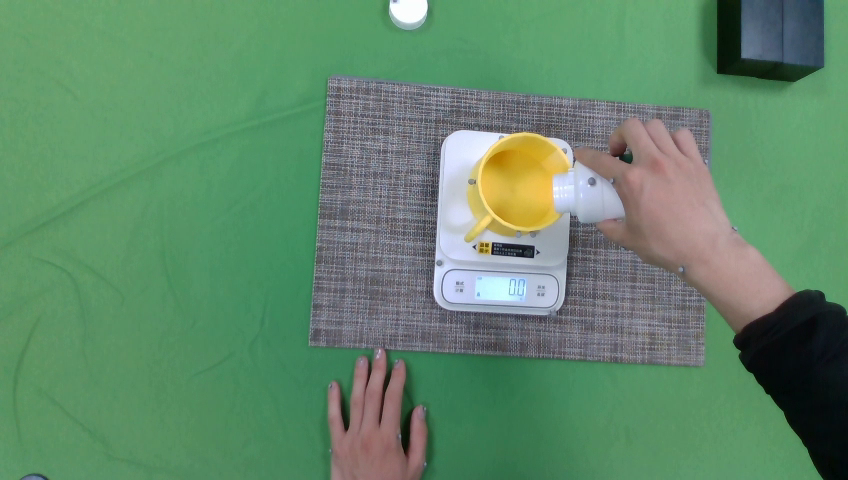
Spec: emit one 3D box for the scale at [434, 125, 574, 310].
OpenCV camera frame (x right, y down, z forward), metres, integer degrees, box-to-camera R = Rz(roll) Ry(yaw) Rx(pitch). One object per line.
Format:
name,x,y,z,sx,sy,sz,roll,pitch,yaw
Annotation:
scale,0.089,-0.025,0.674,0.149,0.031,0.200,3,86,-4

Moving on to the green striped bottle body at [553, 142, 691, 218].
green striped bottle body,0.182,-0.054,0.568,0.119,0.063,0.063,-4,86,15

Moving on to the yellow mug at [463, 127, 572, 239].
yellow mug,0.088,-0.049,0.628,0.100,0.064,0.131,44,84,-1

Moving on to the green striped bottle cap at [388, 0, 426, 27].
green striped bottle cap,-0.019,-0.269,0.694,0.044,0.020,0.044,0,89,-4
